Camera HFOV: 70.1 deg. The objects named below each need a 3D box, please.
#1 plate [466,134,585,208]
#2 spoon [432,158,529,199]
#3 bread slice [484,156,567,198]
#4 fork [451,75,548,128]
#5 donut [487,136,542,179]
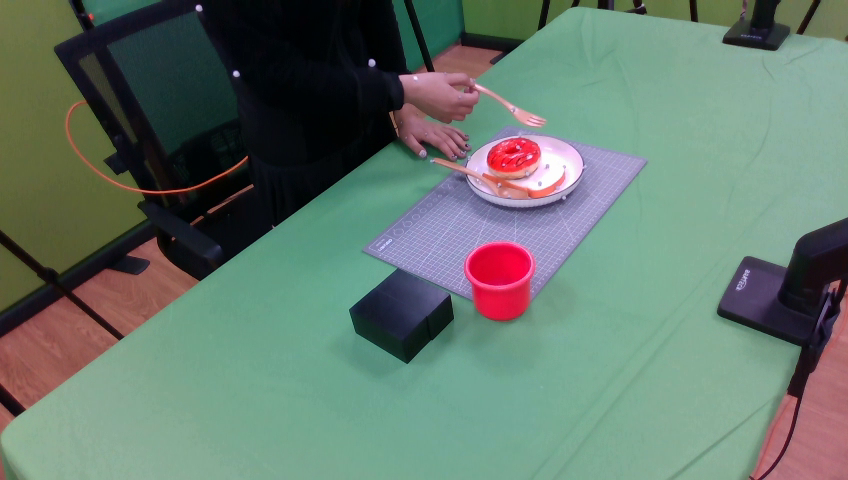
[{"bbox_3d":[0.178,-0.120,1.075,0.209,0.038,0.208,-5,40,5],"label":"plate"},{"bbox_3d":[0.095,-0.108,1.055,0.192,0.022,0.042,30,48,21],"label":"spoon"},{"bbox_3d":[0.187,-0.120,1.077,0.130,0.019,0.105,27,53,37],"label":"bread slice"},{"bbox_3d":[0.133,-0.253,1.093,0.206,0.019,0.028,35,66,17],"label":"fork"},{"bbox_3d":[0.159,-0.147,1.068,0.099,0.048,0.098,-9,40,8],"label":"donut"}]
